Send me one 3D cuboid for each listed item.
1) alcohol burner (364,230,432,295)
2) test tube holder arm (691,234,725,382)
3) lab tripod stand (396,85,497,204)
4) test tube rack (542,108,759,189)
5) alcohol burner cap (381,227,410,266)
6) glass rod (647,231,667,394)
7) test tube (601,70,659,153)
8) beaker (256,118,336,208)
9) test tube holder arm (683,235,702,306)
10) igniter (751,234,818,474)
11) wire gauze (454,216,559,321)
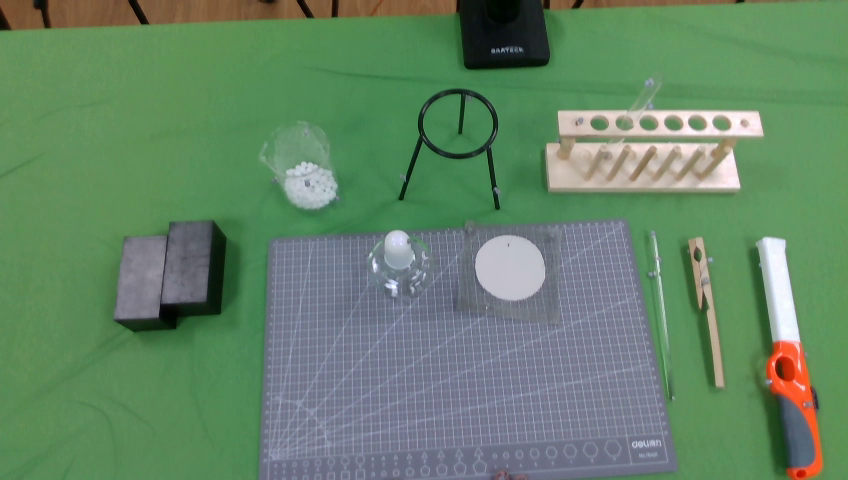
[{"bbox_3d":[-0.031,0.019,0.683,0.078,0.120,0.077,-1,68,2],"label":"alcohol burner"},{"bbox_3d":[0.334,0.077,0.717,0.013,0.015,0.177,-16,64,31],"label":"test tube holder arm"},{"bbox_3d":[0.032,-0.108,0.727,0.148,0.132,0.147,0,70,0],"label":"lab tripod stand"},{"bbox_3d":[0.278,-0.113,0.757,0.242,0.086,0.066,0,68,0],"label":"test tube rack"},{"bbox_3d":[-0.031,0.004,0.650,0.034,0.048,0.033,1,62,-1],"label":"alcohol burner cap"},{"bbox_3d":[0.277,0.082,0.721,0.008,0.008,0.198,2,71,0],"label":"glass rod"},{"bbox_3d":[0.240,-0.147,0.718,0.017,0.151,0.017,2,66,-4],"label":"test tube"},{"bbox_3d":[-0.150,-0.088,0.735,0.084,0.101,0.073,-11,68,-4],"label":"beaker"},{"bbox_3d":[0.328,0.037,0.736,0.010,0.015,0.087,-15,65,31],"label":"test tube holder arm"},{"bbox_3d":[0.412,0.123,0.697,0.057,0.025,0.274,8,68,-9],"label":"igniter"},{"bbox_3d":[0.102,0.031,0.737,0.125,0.011,0.120,8,69,1],"label":"wire gauze"}]
